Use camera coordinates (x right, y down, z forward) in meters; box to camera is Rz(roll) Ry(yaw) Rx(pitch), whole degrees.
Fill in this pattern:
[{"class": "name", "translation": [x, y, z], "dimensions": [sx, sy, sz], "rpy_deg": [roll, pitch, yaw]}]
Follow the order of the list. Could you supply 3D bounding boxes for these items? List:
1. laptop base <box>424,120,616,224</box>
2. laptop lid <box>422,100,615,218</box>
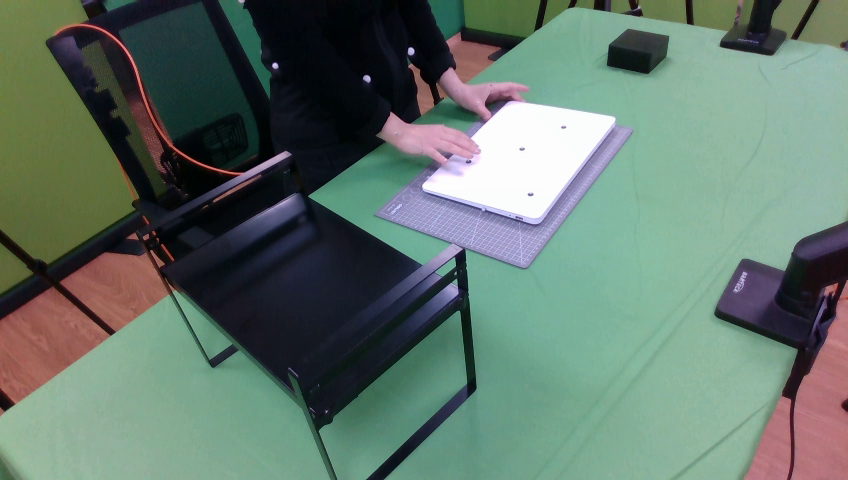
[{"class": "laptop base", "translation": [0.186, -0.157, 1.133], "dimensions": [0.234, 0.023, 0.355], "rpy_deg": [17, 46, 30]}, {"class": "laptop lid", "translation": [0.183, -0.167, 1.126], "dimensions": [0.240, 0.013, 0.357], "rpy_deg": [19, 47, 31]}]
